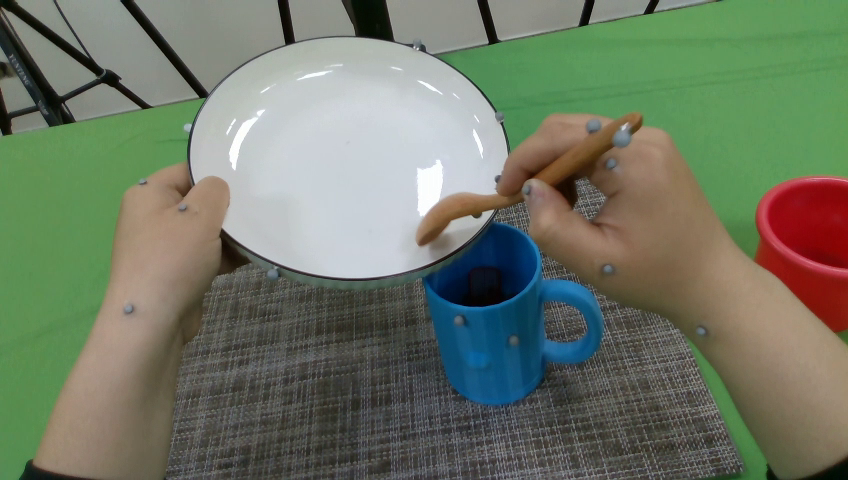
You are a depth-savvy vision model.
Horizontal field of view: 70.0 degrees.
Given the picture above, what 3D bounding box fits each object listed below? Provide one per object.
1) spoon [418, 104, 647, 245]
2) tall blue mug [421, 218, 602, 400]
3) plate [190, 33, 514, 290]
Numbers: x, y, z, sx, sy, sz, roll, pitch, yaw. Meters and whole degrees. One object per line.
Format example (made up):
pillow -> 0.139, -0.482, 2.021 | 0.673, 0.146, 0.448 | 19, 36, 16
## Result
spoon -> 0.043, -0.026, 0.303 | 0.041, 0.022, 0.193 | -38, 8, -26
tall blue mug -> 0.058, 0.045, 0.415 | 0.107, 0.109, 0.077 | -14, 44, -1
plate -> -0.045, -0.055, 0.407 | 0.208, 0.039, 0.205 | 3, 58, -5
